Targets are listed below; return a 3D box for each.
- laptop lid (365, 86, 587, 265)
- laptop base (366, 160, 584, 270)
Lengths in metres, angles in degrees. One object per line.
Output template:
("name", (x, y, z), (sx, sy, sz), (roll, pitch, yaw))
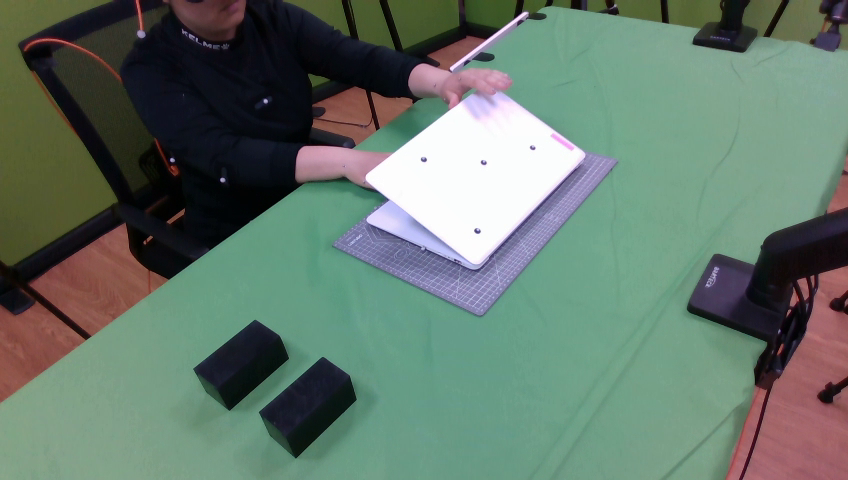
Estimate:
("laptop lid", (0.099, -0.127, 1.016), (0.240, 0.013, 0.358), (40, 55, 14))
("laptop base", (0.097, -0.085, 1.058), (0.233, 0.023, 0.355), (21, 47, 34))
